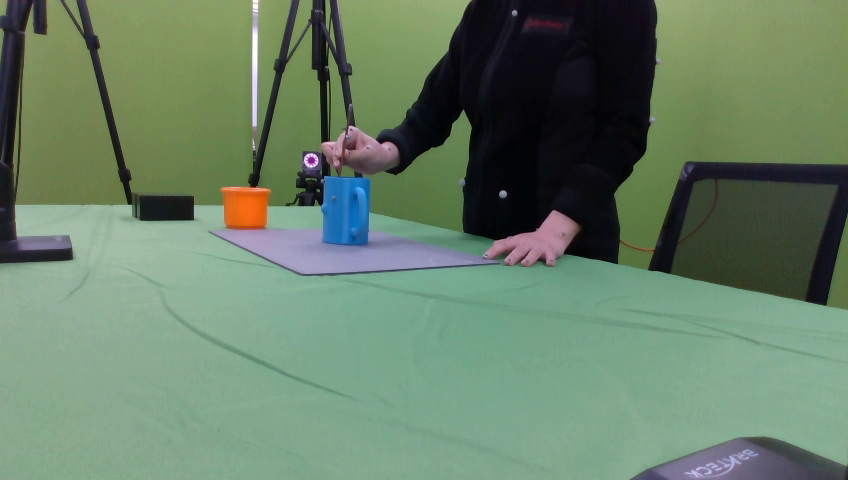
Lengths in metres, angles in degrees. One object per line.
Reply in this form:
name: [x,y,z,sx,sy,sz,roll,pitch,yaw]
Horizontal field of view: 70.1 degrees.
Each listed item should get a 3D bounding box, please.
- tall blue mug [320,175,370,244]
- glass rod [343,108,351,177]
tall blue mug: [-0.117,-0.049,0.991,0.106,0.108,0.078,7,8,33]
glass rod: [-0.127,-0.114,0.974,0.008,0.199,0.008,3,-1,0]
